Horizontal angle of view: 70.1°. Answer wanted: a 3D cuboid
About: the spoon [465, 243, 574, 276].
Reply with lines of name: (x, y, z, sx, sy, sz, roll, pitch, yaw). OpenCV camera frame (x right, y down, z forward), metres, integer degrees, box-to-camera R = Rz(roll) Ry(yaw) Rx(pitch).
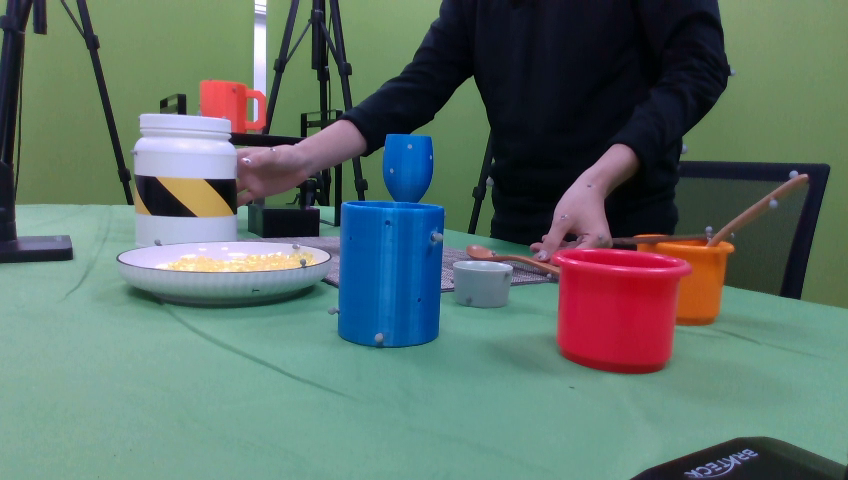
spoon: (0.121, 0.024, 0.799, 0.042, 0.021, 0.193, -3, 7, -34)

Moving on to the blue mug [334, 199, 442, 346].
blue mug: (-0.034, 0.020, 0.498, 0.083, 0.106, 0.116, 0, 7, -19)

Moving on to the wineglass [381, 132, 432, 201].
wineglass: (-0.026, -0.062, 0.841, 0.074, 0.172, 0.073, 2, 7, 0)

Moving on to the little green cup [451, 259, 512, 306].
little green cup: (0.057, 0.043, 0.612, 0.061, 0.038, 0.061, 3, 8, 0)

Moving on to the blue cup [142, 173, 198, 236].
blue cup: (-0.425, -0.060, 1.014, 0.093, 0.100, 0.092, 4, 9, 0)

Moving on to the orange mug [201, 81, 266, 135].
orange mug: (-0.377, -0.260, 1.198, 0.126, 0.101, 0.083, -3, 8, -6)

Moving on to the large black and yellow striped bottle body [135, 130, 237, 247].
large black and yellow striped bottle body: (-0.327, -0.074, 0.838, 0.131, 0.184, 0.130, 2, 7, 0)

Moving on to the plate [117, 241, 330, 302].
plate: (-0.203, 0.031, 0.630, 0.209, 0.038, 0.209, 3, 7, 0)

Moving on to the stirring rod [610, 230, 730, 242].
stirring rod: (0.241, -0.005, 0.582, 0.177, 0.006, 0.014, -3, 10, -34)

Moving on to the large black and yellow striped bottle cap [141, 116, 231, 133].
large black and yellow striped bottle cap: (-0.324, -0.157, 0.826, 0.115, 0.019, 0.115, 1, 7, 0)

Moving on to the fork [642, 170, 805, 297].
fork: (0.261, 0.004, 0.545, 0.028, 0.018, 0.207, 5, -37, -15)
